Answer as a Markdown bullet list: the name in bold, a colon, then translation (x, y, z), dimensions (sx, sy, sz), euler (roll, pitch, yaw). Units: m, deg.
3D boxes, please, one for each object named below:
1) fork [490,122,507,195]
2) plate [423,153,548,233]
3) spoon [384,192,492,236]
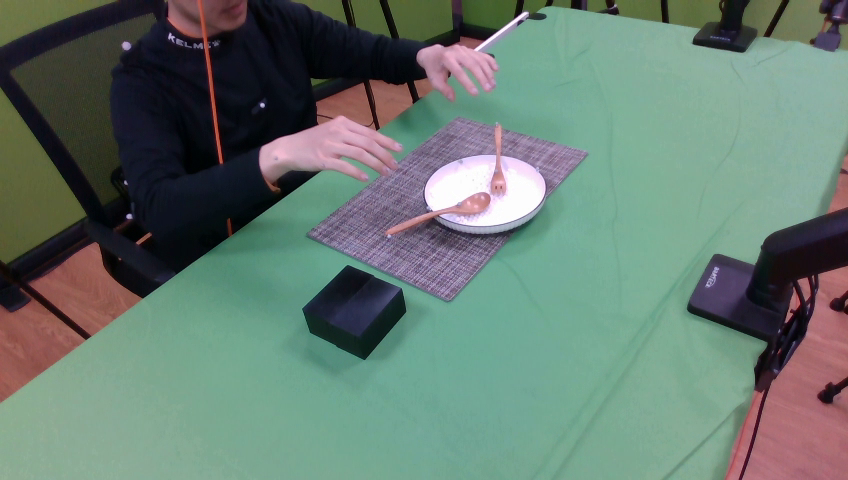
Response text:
- **fork**: translation (0.133, -0.149, 1.082), dimensions (0.028, 0.019, 0.206), euler (-1, 49, 8)
- **plate**: translation (0.104, -0.076, 1.024), dimensions (0.209, 0.038, 0.208), euler (-4, 40, 4)
- **spoon**: translation (0.023, -0.042, 0.969), dimensions (0.195, 0.022, 0.041), euler (-17, 47, -22)
